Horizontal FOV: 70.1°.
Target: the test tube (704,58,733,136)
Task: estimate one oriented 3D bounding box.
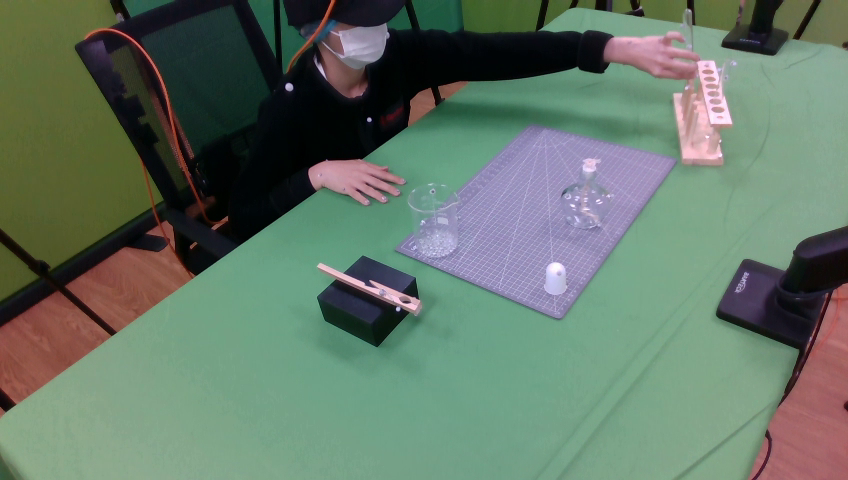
[{"bbox_3d":[0.516,-0.247,1.062,0.017,0.151,0.017,-4,43,4],"label":"test tube"}]

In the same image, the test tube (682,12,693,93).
[{"bbox_3d":[0.485,-0.342,1.111,0.017,0.151,0.017,-12,33,9],"label":"test tube"}]

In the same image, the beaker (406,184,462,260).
[{"bbox_3d":[0.019,-0.026,0.939,0.084,0.101,0.074,1,41,10],"label":"beaker"}]

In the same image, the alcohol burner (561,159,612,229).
[{"bbox_3d":[0.257,-0.077,0.951,0.078,0.119,0.077,-3,40,3],"label":"alcohol burner"}]

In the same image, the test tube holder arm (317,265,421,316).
[{"bbox_3d":[-0.080,0.068,0.836,0.177,0.015,0.013,18,56,28],"label":"test tube holder arm"}]

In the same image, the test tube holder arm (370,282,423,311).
[{"bbox_3d":[-0.040,0.076,0.817,0.087,0.015,0.010,18,56,28],"label":"test tube holder arm"}]

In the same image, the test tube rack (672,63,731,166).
[{"bbox_3d":[0.513,-0.240,1.132,0.066,0.085,0.242,3,41,14],"label":"test tube rack"}]

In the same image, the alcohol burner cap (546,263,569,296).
[{"bbox_3d":[0.191,0.053,0.862,0.034,0.048,0.033,-5,40,4],"label":"alcohol burner cap"}]
